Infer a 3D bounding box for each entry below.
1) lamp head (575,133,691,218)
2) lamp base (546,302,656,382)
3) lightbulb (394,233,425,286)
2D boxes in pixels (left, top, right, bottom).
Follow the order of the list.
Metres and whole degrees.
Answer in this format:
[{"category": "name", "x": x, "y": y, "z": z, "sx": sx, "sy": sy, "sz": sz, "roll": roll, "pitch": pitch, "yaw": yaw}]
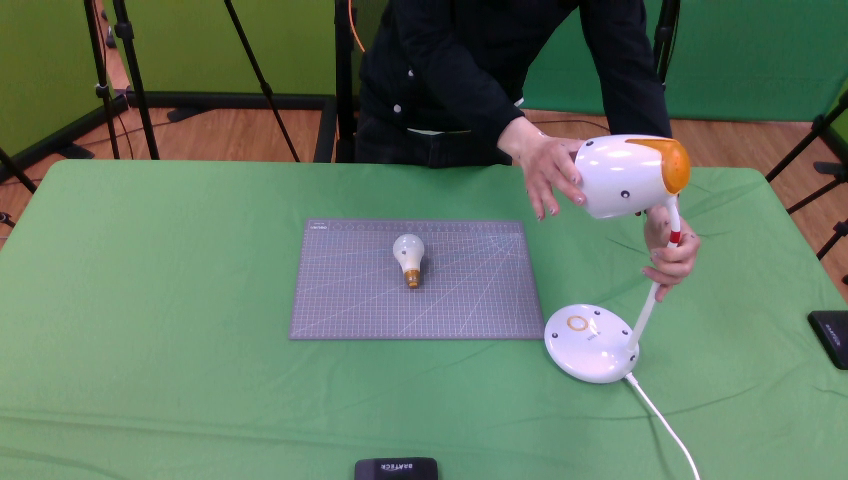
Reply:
[{"category": "lamp head", "x": 0.273, "y": -0.084, "z": 0.772, "sx": 0.122, "sy": 0.113, "sz": 0.112, "roll": 3, "pitch": 35, "yaw": 48}, {"category": "lamp base", "x": 0.303, "y": 0.127, "z": 0.982, "sx": 0.160, "sy": 0.181, "sz": 0.178, "roll": -34, "pitch": 59, "yaw": -29}, {"category": "lightbulb", "x": -0.024, "y": 0.037, "z": 1.134, "sx": 0.059, "sy": 0.060, "sz": 0.107, "roll": -4, "pitch": 63, "yaw": -7}]
